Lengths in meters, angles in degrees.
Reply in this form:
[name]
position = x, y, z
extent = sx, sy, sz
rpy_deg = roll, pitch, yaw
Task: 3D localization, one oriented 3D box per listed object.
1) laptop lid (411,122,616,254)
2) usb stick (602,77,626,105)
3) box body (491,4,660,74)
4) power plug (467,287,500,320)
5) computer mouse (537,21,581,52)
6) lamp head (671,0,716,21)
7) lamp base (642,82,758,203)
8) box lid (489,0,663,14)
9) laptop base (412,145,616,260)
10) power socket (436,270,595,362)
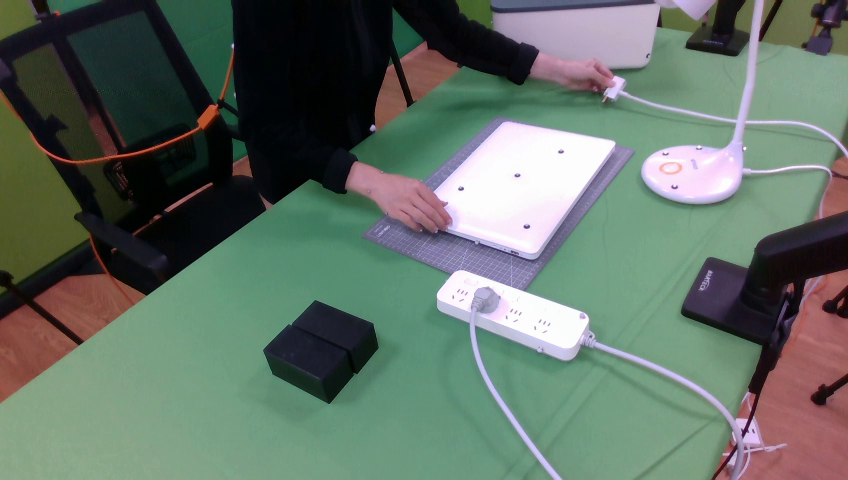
[laptop lid]
position = 0.165, -0.110, 1.066
extent = 0.240, 0.013, 0.357
rpy_deg = 19, 46, 30
[usb stick]
position = 0.392, -0.306, 1.257
extent = 0.027, 0.022, 0.059
rpy_deg = 37, 100, 29
[box body]
position = 0.346, -0.520, 1.429
extent = 0.363, 0.161, 0.253
rpy_deg = 0, 41, 9
[power plug]
position = 0.073, 0.092, 0.814
extent = 0.035, 0.053, 0.073
rpy_deg = 29, 54, 34
[computer mouse]
position = 0.335, -0.503, 1.487
extent = 0.118, 0.041, 0.062
rpy_deg = 22, 19, -28
[lamp head]
position = 0.375, -0.373, 0.807
extent = 0.122, 0.113, 0.112
rpy_deg = -40, 27, 32
[lamp base]
position = 0.464, -0.174, 0.992
extent = 0.179, 0.181, 0.159
rpy_deg = -5, 41, -2
[box lid]
position = 0.340, -0.575, 1.380
extent = 0.371, 0.015, 0.262
rpy_deg = 0, 41, 9
[laptop base]
position = 0.168, -0.101, 1.072
extent = 0.234, 0.023, 0.355
rpy_deg = 17, 45, 30
[power socket]
position = 0.118, 0.101, 0.832
extent = 0.225, 0.033, 0.072
rpy_deg = 19, 48, 27
